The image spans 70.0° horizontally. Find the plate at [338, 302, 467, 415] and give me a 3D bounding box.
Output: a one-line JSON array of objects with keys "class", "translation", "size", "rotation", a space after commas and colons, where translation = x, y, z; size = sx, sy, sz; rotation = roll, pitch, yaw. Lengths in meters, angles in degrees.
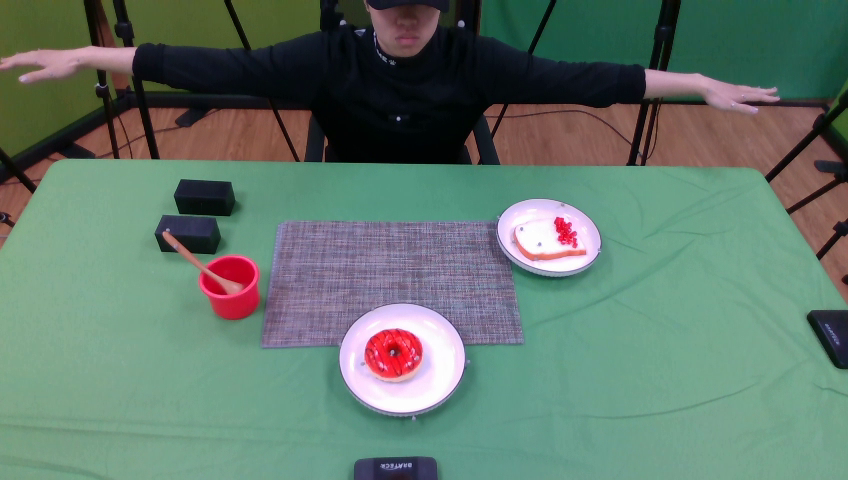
[{"class": "plate", "translation": [-0.035, 0.194, 0.992], "size": [0.208, 0.039, 0.206], "rotation": [2, 48, -2]}]

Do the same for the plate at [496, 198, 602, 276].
[{"class": "plate", "translation": [0.246, -0.002, 1.205], "size": [0.209, 0.038, 0.208], "rotation": [2, 46, -2]}]

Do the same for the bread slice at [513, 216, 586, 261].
[{"class": "bread slice", "translation": [0.247, -0.003, 1.209], "size": [0.132, 0.019, 0.104], "rotation": [-8, 47, -14]}]

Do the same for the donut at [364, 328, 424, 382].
[{"class": "donut", "translation": [-0.049, 0.185, 0.983], "size": [0.099, 0.048, 0.098], "rotation": [1, 45, -1]}]

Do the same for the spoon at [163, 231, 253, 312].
[{"class": "spoon", "translation": [-0.364, 0.054, 1.025], "size": [0.194, 0.021, 0.041], "rotation": [43, 49, -17]}]
